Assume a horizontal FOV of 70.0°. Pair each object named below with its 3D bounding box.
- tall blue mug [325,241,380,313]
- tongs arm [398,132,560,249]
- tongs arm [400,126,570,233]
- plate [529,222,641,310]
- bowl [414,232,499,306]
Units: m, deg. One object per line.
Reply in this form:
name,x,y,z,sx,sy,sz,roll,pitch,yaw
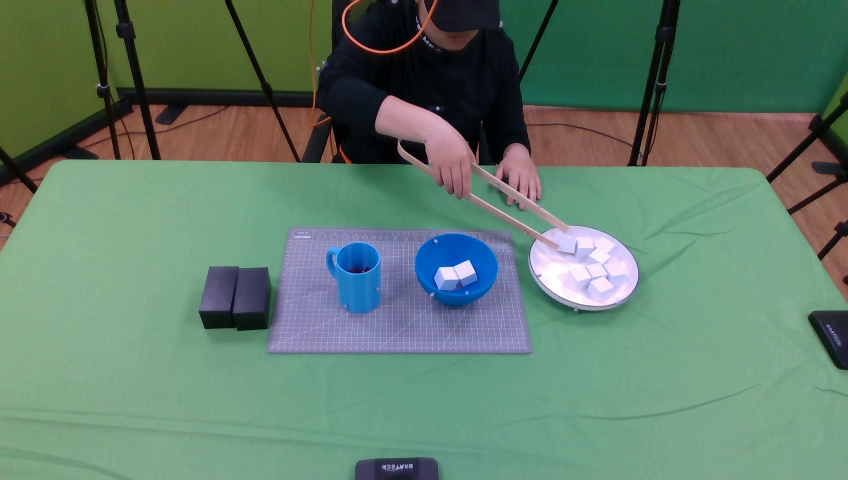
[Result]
tall blue mug,-0.130,0.063,1.062,0.107,0.108,0.077,9,47,5
tongs arm,0.100,-0.095,1.190,0.387,0.028,0.028,34,71,8
tongs arm,0.116,-0.116,1.201,0.384,0.026,0.050,36,68,9
plate,0.303,0.052,1.155,0.209,0.038,0.208,1,47,-1
bowl,0.056,0.066,1.095,0.151,0.077,0.150,2,46,-2
